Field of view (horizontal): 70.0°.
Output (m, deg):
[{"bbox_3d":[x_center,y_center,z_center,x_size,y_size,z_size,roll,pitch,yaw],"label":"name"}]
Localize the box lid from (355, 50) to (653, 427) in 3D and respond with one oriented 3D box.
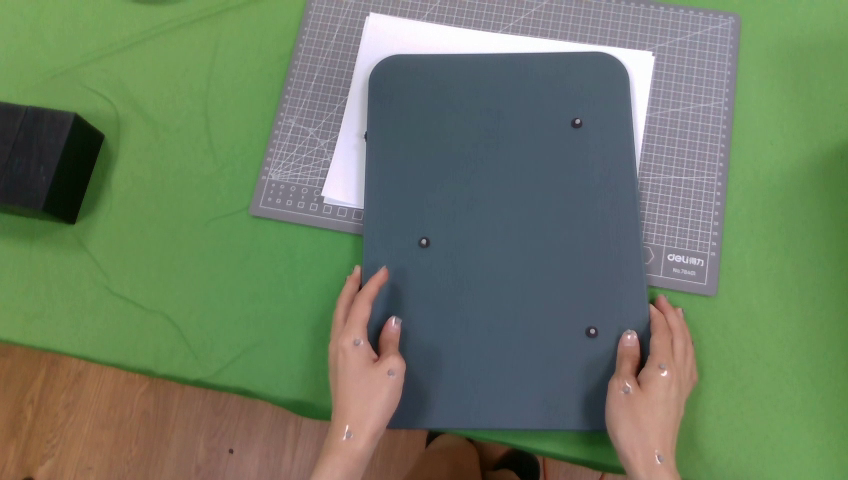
[{"bbox_3d":[0.070,-0.016,0.573,0.263,0.015,0.369,0,76,1],"label":"box lid"}]
